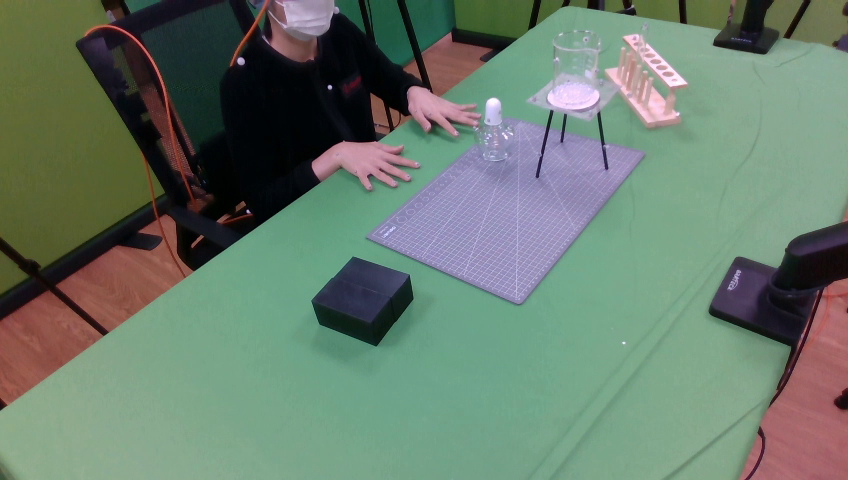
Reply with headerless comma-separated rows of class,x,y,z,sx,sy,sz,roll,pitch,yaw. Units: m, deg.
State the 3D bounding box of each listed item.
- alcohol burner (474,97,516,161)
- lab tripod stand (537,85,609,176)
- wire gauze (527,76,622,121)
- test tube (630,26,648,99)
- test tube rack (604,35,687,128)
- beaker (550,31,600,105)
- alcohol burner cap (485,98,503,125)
alcohol burner,0.131,-0.208,1.121,0.078,0.119,0.077,-6,40,5
lab tripod stand,0.259,-0.192,1.068,0.148,0.132,0.147,-4,43,4
wire gauze,0.255,-0.247,1.030,0.124,0.011,0.122,23,49,34
test tube,0.426,-0.350,1.199,0.017,0.151,0.017,-4,42,4
test tube rack,0.447,-0.330,1.241,0.067,0.085,0.241,-9,41,-2
beaker,0.250,-0.281,0.996,0.074,0.101,0.083,-37,49,-27
alcohol burner cap,0.126,-0.234,1.097,0.034,0.048,0.033,-3,39,3
